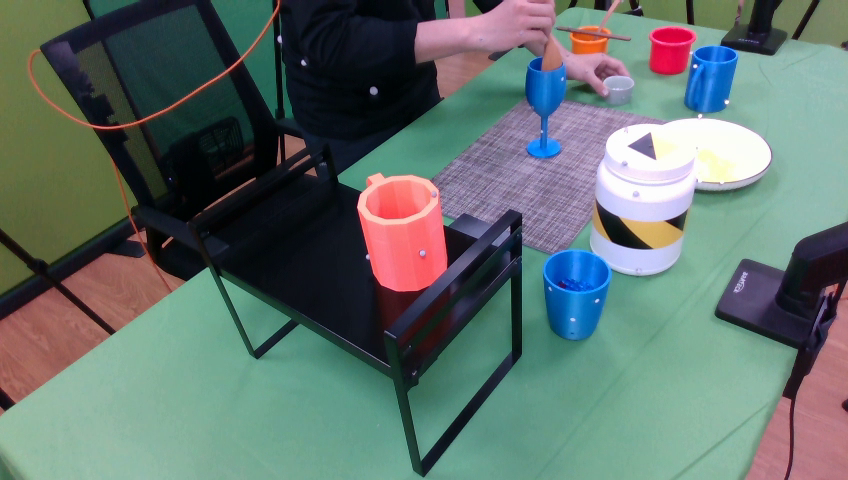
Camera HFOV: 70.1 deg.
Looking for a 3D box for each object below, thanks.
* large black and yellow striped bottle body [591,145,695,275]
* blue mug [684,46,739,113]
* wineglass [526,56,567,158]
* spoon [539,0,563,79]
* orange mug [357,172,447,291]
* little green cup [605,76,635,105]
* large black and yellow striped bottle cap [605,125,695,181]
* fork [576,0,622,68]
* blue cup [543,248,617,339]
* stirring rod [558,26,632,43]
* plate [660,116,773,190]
[{"bbox_3d":[0.313,-0.056,0.871,0.131,0.185,0.130,-4,40,4],"label":"large black and yellow striped bottle body"},{"bbox_3d":[0.556,-0.310,1.190,0.117,0.106,0.081,-32,46,-25],"label":"blue mug"},{"bbox_3d":[0.222,-0.240,1.102,0.074,0.173,0.073,-5,41,4],"label":"wineglass"},{"bbox_3d":[0.200,-0.353,0.989,0.042,0.195,0.021,-25,35,-9],"label":"spoon"},{"bbox_3d":[-0.030,-0.018,0.669,0.084,0.101,0.125,-23,46,-16],"label":"orange mug"},{"bbox_3d":[0.408,-0.312,1.265,0.061,0.039,0.061,-4,39,3],"label":"little green cup"},{"bbox_3d":[0.304,-0.120,0.817,0.115,0.019,0.114,-3,41,3],"label":"large black and yellow striped bottle cap"},{"bbox_3d":[0.409,-0.484,1.381,0.028,0.019,0.207,37,101,46],"label":"fork"},{"bbox_3d":[0.199,0.076,0.797,0.092,0.100,0.092,-4,39,4],"label":"blue cup"},{"bbox_3d":[0.381,-0.462,1.356,0.175,0.006,0.014,22,49,29],"label":"stirring rod"},{"bbox_3d":[0.495,-0.149,1.063,0.209,0.038,0.208,-5,40,5],"label":"plate"}]
